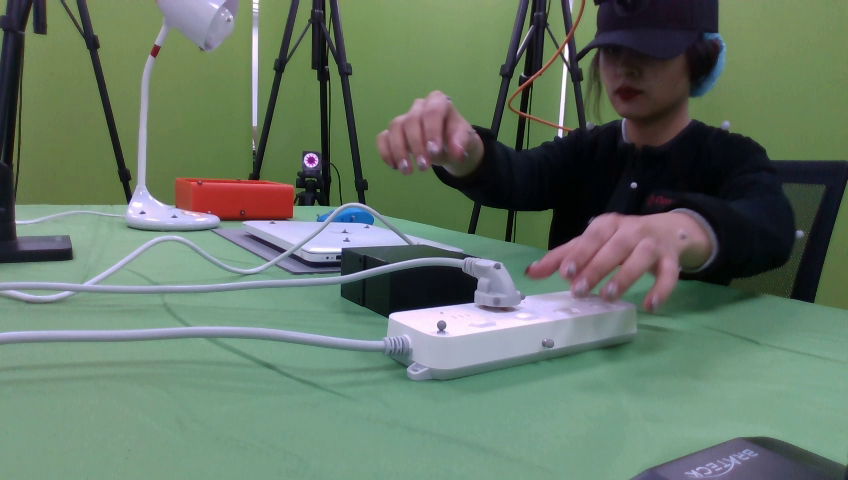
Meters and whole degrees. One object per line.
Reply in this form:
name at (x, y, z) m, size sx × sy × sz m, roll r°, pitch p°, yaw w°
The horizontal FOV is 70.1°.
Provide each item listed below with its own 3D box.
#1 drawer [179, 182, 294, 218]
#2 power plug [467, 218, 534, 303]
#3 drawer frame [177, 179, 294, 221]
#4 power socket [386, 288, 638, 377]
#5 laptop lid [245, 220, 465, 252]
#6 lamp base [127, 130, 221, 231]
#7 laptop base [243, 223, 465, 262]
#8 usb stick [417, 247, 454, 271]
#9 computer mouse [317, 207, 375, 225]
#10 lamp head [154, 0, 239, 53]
drawer at (-0.420, -0.091, 1.354) m, size 0.213 × 0.073 × 0.193 m, roll -3°, pitch 10°, yaw -31°
power plug at (0.053, 0.013, 0.453) m, size 0.035 × 0.072 × 0.052 m, roll -24°, pitch -3°, yaw -41°
drawer frame at (-0.422, -0.092, 1.352) m, size 0.215 × 0.082 × 0.200 m, roll -3°, pitch 10°, yaw -32°
power socket at (0.074, 0.064, 0.461) m, size 0.228 × 0.032 × 0.072 m, roll -3°, pitch 8°, yaw -34°
laptop lid at (-0.124, -0.009, 0.945) m, size 0.243 × 0.013 × 0.355 m, roll 1°, pitch 7°, yaw -29°
lamp base at (-0.469, -0.112, 1.108) m, size 0.179 × 0.180 × 0.160 m, roll 0°, pitch 7°, yaw 3°
laptop base at (-0.126, 0.003, 0.945) m, size 0.237 × 0.023 × 0.352 m, roll 2°, pitch 6°, yaw -31°
usb stick at (0.011, 0.024, 0.756) m, size 0.027 × 0.021 × 0.059 m, roll 39°, pitch -17°, yaw -18°
computer mouse at (-0.163, -0.048, 1.264) m, size 0.118 × 0.041 × 0.062 m, roll -6°, pitch 12°, yaw -29°
lamp head at (-0.406, -0.402, 1.059) m, size 0.123 × 0.112 × 0.112 m, roll 25°, pitch 6°, yaw -6°
